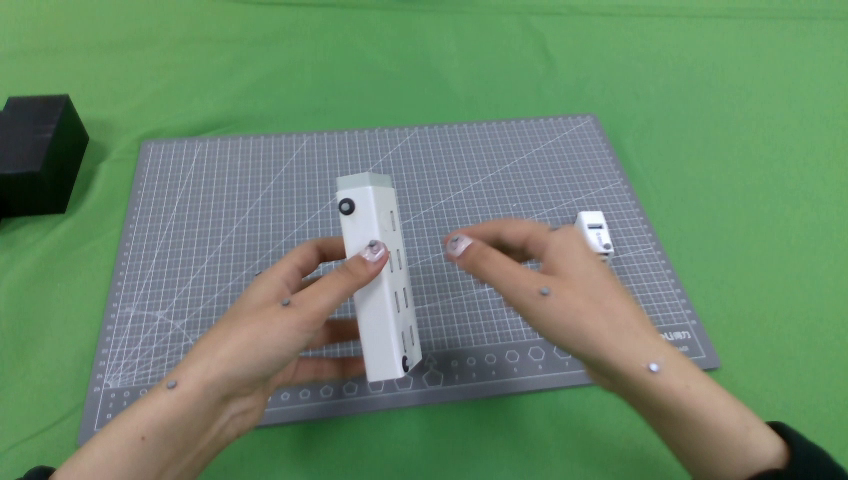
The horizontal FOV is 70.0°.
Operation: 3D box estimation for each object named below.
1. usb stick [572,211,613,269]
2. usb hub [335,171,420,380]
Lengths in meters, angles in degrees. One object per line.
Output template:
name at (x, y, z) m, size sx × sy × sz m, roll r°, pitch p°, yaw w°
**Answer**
usb stick at (0.140, -0.006, 0.510) m, size 0.021 × 0.027 × 0.058 m, roll -2°, pitch 48°, yaw -3°
usb hub at (-0.029, 0.021, 0.381) m, size 0.025 × 0.049 × 0.125 m, roll -9°, pitch 92°, yaw 15°
